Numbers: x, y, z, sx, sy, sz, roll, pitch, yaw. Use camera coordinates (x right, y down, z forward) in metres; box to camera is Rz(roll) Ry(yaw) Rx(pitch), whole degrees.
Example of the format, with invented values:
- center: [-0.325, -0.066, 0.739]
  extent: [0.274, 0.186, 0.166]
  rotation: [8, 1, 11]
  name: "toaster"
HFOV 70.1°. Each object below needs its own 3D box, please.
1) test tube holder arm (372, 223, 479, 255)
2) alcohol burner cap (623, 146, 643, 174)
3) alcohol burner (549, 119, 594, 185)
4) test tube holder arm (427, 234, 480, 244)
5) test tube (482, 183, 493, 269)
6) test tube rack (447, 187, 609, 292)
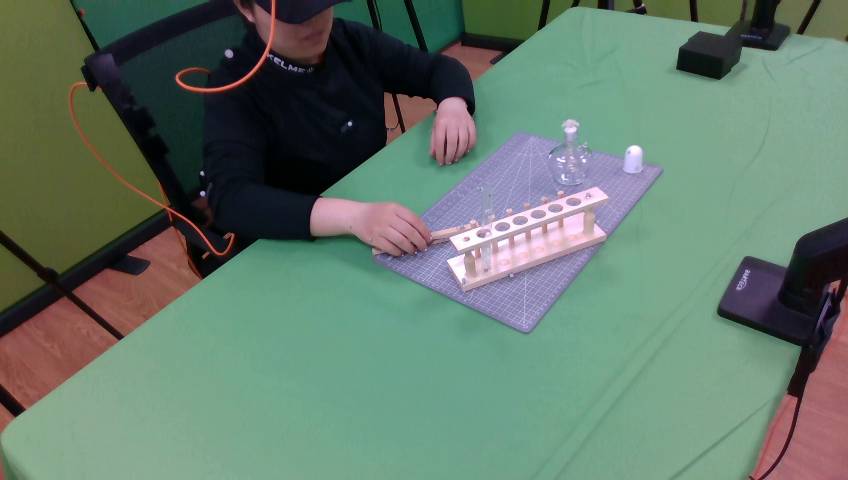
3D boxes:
- center: [0.003, -0.002, 0.981]
  extent: [0.178, 0.013, 0.015]
  rotation: [-12, 34, -2]
  name: "test tube holder arm"
- center: [0.369, -0.142, 1.061]
  extent: [0.034, 0.048, 0.033]
  rotation: [-6, 41, 6]
  name: "alcohol burner cap"
- center: [0.254, -0.155, 1.043]
  extent: [0.078, 0.120, 0.077]
  rotation: [-7, 40, 7]
  name: "alcohol burner"
- center: [0.048, -0.006, 0.986]
  extent: [0.088, 0.010, 0.015]
  rotation: [-7, 34, -5]
  name: "test tube holder arm"
- center: [0.089, -0.016, 0.854]
  extent: [0.017, 0.151, 0.017]
  rotation: [-2, 39, 2]
  name: "test tube"
- center: [0.155, -0.011, 0.913]
  extent: [0.243, 0.085, 0.066]
  rotation: [-19, 41, -11]
  name: "test tube rack"
